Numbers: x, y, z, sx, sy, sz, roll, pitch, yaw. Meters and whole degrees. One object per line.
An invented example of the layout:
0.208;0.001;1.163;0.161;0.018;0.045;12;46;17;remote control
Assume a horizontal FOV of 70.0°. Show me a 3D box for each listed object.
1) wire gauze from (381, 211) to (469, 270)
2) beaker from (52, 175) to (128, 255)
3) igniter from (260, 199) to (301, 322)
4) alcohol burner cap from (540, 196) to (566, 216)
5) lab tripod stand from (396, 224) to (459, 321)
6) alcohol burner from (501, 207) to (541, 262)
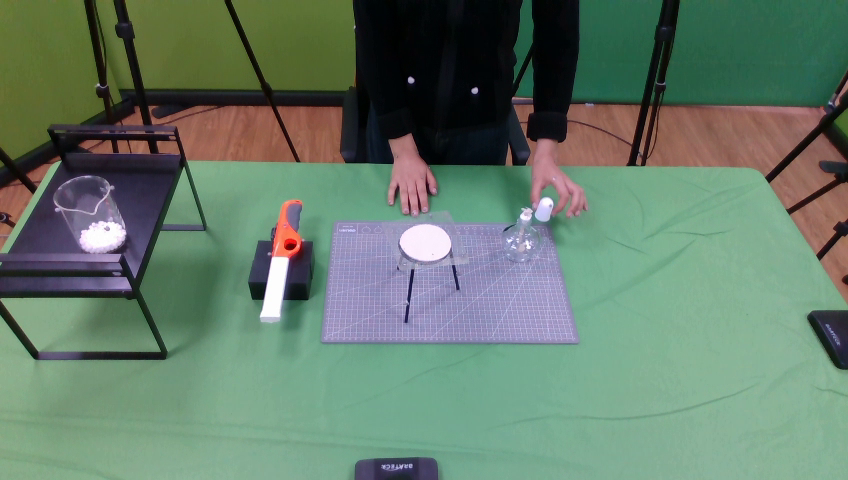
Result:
0.000;0.001;1.023;0.125;0.011;0.120;-9;48;-13;wire gauze
-0.482;-0.032;0.888;0.074;0.101;0.083;-28;55;-27;beaker
-0.255;0.027;1.084;0.057;0.025;0.274;3;49;-5;igniter
0.252;-0.069;1.198;0.048;0.034;0.033;23;49;8;alcohol burner cap
-0.003;0.052;1.067;0.148;0.132;0.147;3;48;-3;lab tripod stand
0.188;-0.015;1.160;0.078;0.120;0.077;1;44;-1;alcohol burner
